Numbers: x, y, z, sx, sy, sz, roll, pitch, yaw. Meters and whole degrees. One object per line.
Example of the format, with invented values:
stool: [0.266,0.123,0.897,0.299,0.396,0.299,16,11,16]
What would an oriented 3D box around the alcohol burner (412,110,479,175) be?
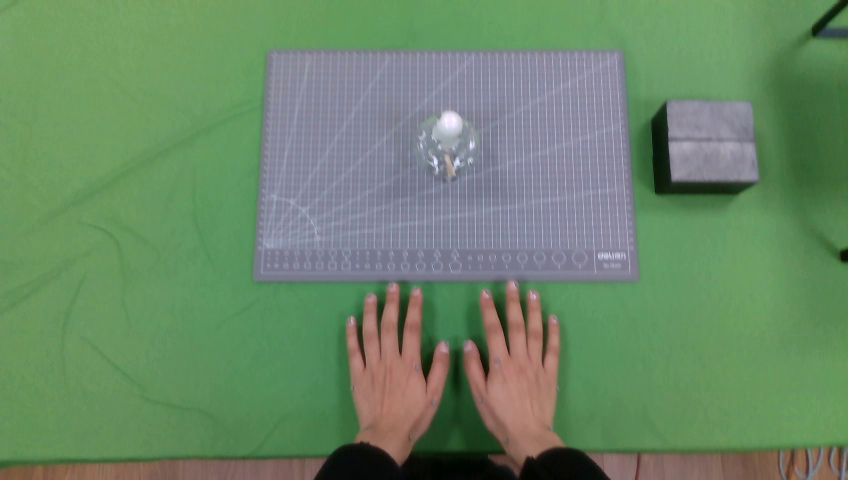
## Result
alcohol burner: [0.025,-0.117,0.683,0.078,0.119,0.077,0,78,-2]

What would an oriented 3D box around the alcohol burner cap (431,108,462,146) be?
alcohol burner cap: [0.025,-0.123,0.648,0.034,0.048,0.033,0,81,-2]
